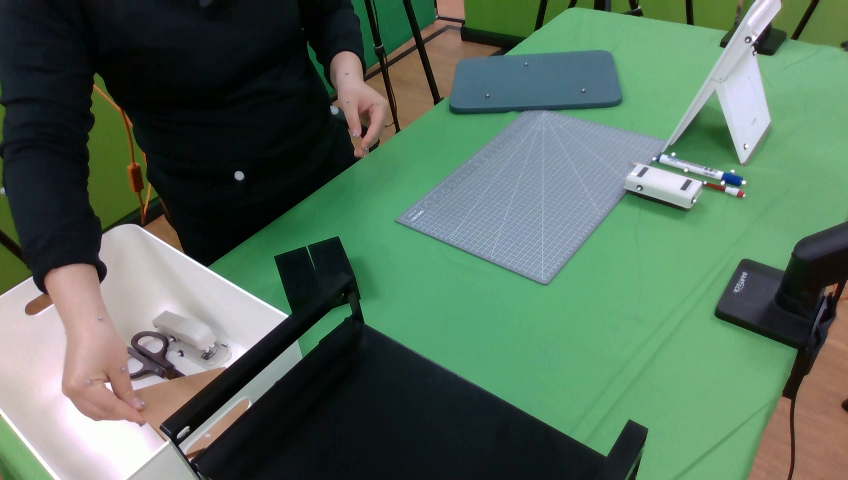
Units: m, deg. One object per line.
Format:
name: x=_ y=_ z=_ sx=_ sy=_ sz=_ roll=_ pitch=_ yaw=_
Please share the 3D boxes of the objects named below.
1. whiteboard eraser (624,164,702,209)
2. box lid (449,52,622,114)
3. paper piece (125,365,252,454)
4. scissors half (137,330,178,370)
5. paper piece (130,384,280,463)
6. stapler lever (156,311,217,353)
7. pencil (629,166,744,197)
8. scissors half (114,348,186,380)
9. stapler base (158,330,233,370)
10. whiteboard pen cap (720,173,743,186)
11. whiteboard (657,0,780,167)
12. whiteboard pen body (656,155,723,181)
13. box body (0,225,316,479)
whiteboard eraser: x=0.396 y=-0.087 z=1.003 sx=0.112 sy=0.042 sz=0.056 roll=22 pitch=48 yaw=31
box lid: x=0.249 y=-0.358 z=1.370 sx=0.371 sy=0.015 sz=0.262 roll=-1 pitch=40 yaw=9
paper piece: x=-0.254 y=0.192 z=0.713 sx=0.134 sy=0.004 sz=0.136 roll=25 pitch=19 yaw=35
scissors half: x=-0.336 y=0.172 z=0.822 sx=0.040 sy=0.013 sz=0.174 roll=-35 pitch=52 yaw=-30
paper piece: x=-0.257 y=0.212 z=0.715 sx=0.137 sy=0.137 sz=0.008 roll=34 pitch=97 yaw=35
stapler lever: x=-0.331 y=0.122 z=0.837 sx=0.117 sy=0.040 sz=0.027 roll=18 pitch=44 yaw=32
pencil: x=0.447 y=-0.103 z=1.038 sx=0.192 sy=0.012 sz=0.012 roll=21 pitch=48 yaw=29
scissors half: x=-0.349 y=0.185 z=0.810 sx=0.174 sy=0.013 sz=0.040 roll=15 pitch=51 yaw=19
stapler base: x=-0.326 y=0.142 z=0.852 sx=0.129 sy=0.024 sz=0.041 roll=18 pitch=44 yaw=32
whiteboard pen cap: x=0.519 y=-0.103 z=1.020 sx=0.033 sy=0.018 sz=0.018 roll=23 pitch=49 yaw=30
whiteboard: x=0.571 y=-0.272 z=1.038 sx=0.143 sy=0.306 sz=0.218 roll=37 pitch=54 yaw=17
whiteboard pen body: x=0.475 y=-0.123 z=1.052 sx=0.139 sy=0.017 sz=0.017 roll=24 pitch=50 yaw=31
box body: x=-0.339 y=0.161 z=0.728 sx=0.361 sy=0.161 sz=0.255 roll=23 pitch=49 yaw=31
